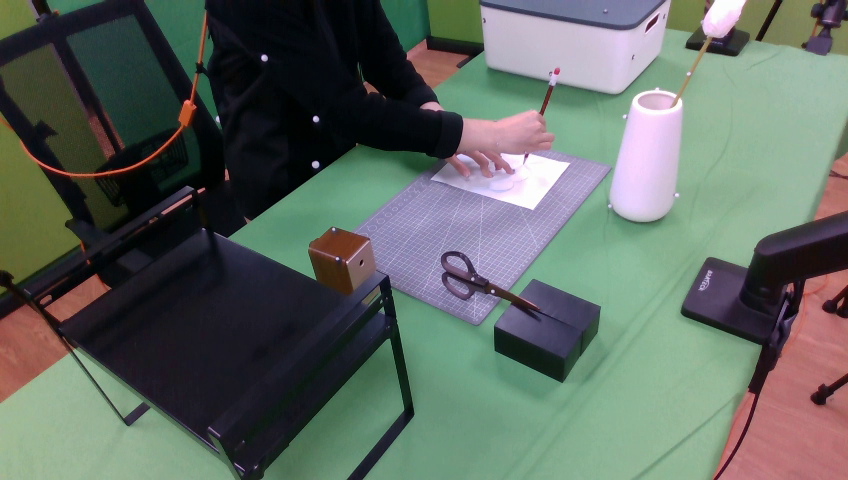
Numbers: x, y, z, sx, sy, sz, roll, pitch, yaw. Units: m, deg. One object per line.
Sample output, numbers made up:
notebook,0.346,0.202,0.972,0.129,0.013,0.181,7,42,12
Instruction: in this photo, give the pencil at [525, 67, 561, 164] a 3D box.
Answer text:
pencil,0.205,-0.212,1.060,0.012,0.194,0.012,8,42,-7

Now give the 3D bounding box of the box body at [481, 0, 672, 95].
box body,0.341,-0.480,1.381,0.361,0.161,0.255,22,48,30

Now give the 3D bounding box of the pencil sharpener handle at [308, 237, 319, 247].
pencil sharpener handle,-0.159,0.017,0.892,0.030,0.068,0.036,18,61,28

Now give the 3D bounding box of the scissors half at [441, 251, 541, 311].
scissors half,0.087,0.056,0.824,0.173,0.040,0.013,29,44,36

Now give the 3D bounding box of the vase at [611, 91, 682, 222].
vase,0.348,-0.125,0.935,0.098,0.201,0.097,-3,40,3

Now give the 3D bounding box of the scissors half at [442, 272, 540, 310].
scissors half,0.089,0.074,0.833,0.013,0.040,0.173,-24,23,-38

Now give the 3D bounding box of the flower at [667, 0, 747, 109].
flower,0.354,-0.187,0.879,0.038,0.362,0.044,30,48,14

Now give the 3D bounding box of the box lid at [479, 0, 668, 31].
box lid,0.335,-0.536,1.331,0.368,0.015,0.264,23,49,30

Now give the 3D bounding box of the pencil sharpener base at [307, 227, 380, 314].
pencil sharpener base,-0.116,0.043,0.875,0.076,0.107,0.061,18,47,27
